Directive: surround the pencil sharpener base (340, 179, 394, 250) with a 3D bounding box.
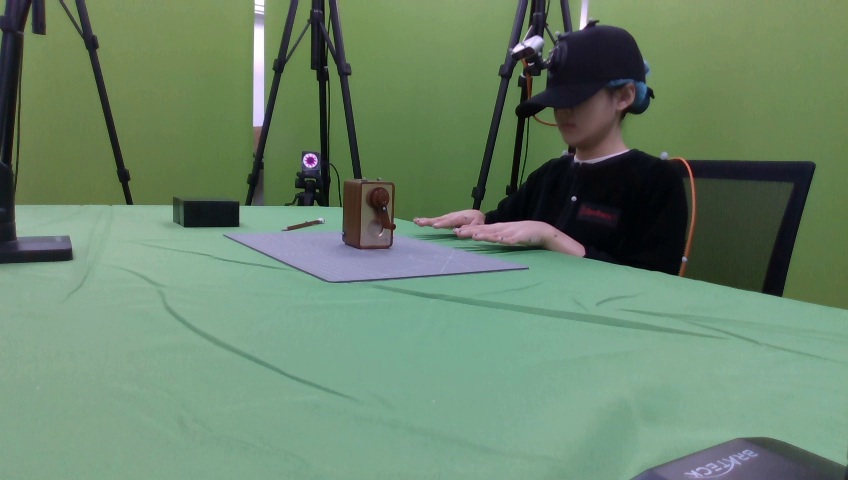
[{"bbox_3d":[-0.091,-0.041,0.959,0.061,0.107,0.076,-1,9,-30],"label":"pencil sharpener base"}]

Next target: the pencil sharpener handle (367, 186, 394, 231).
[{"bbox_3d":[-0.061,-0.047,0.916,0.036,0.068,0.030,-19,17,-26],"label":"pencil sharpener handle"}]

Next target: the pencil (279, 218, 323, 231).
[{"bbox_3d":[-0.247,-0.031,1.222,0.012,0.012,0.194,5,9,14],"label":"pencil"}]
